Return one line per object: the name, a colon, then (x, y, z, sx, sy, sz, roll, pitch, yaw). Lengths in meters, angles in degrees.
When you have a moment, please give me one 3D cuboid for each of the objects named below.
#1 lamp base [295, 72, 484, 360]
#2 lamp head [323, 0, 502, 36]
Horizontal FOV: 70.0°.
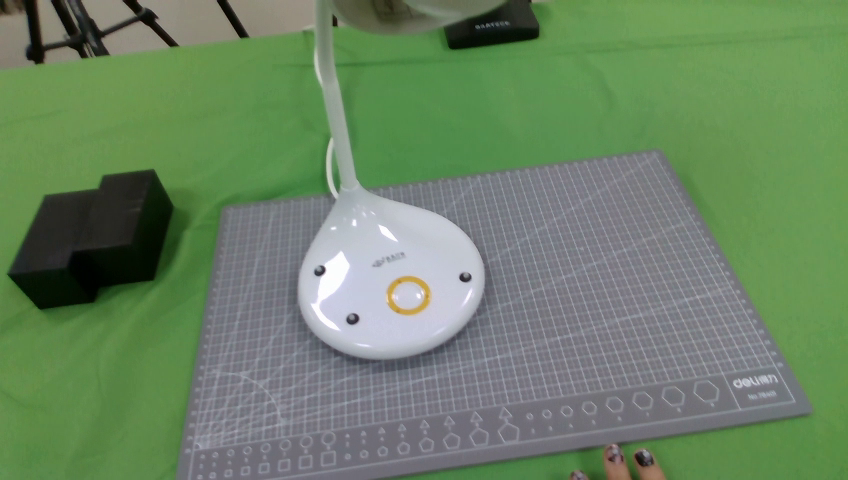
lamp base: (-0.043, -0.026, 0.468, 0.161, 0.182, 0.177, -30, 49, -20)
lamp head: (-0.006, -0.148, 0.206, 0.112, 0.112, 0.122, -23, 80, -15)
